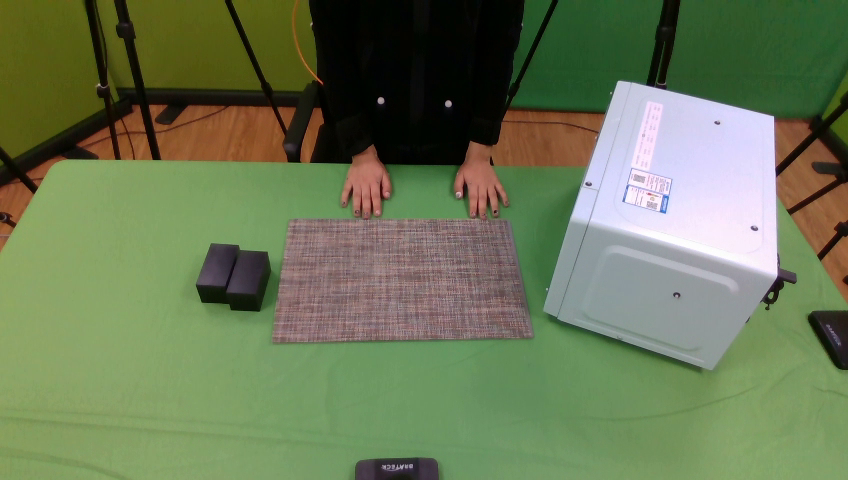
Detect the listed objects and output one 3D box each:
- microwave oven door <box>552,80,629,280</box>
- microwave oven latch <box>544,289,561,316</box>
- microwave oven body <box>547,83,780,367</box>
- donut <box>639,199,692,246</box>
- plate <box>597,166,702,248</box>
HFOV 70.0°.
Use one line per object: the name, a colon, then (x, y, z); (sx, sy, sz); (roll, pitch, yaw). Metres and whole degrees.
microwave oven door: (0.324, -0.116, 1.156); (0.039, 0.245, 0.354); (18, 48, 13)
microwave oven latch: (0.237, 0.098, 1.087); (0.030, 0.029, 0.079); (17, 47, 13)
microwave oven body: (0.445, -0.041, 1.101); (0.325, 0.261, 0.440); (17, 47, 13)
donut: (0.462, -0.034, 1.159); (0.099, 0.048, 0.098); (1, 62, -1)
plate: (0.432, -0.061, 1.176); (0.209, 0.038, 0.208); (8, 48, -8)
